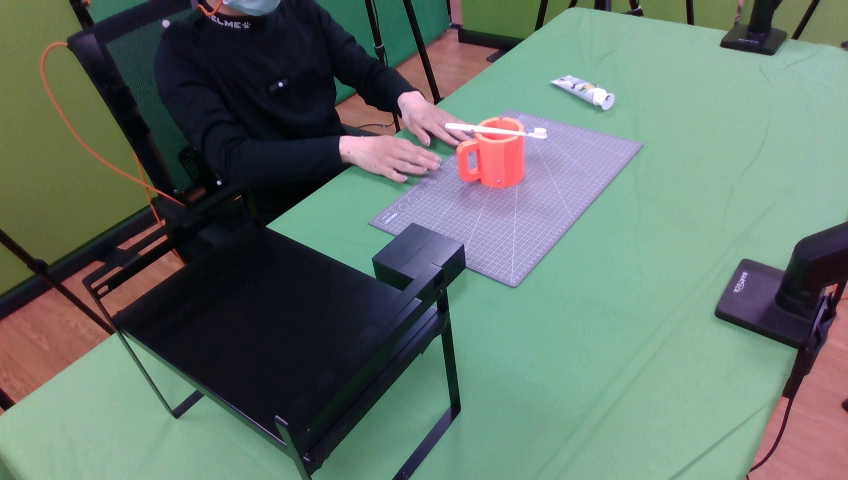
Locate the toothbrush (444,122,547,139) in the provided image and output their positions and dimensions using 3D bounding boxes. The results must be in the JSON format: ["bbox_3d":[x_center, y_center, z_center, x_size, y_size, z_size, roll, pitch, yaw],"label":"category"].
[{"bbox_3d":[0.121,-0.190,1.034,0.181,0.017,0.014,9,46,18],"label":"toothbrush"}]

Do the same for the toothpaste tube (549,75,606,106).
[{"bbox_3d":[0.339,-0.324,1.299,0.055,0.034,0.163,-16,37,-21],"label":"toothpaste tube"}]

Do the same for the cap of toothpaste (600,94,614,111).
[{"bbox_3d":[0.373,-0.283,1.238,0.037,0.037,0.011,-28,46,-23],"label":"cap of toothpaste"}]

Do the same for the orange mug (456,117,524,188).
[{"bbox_3d":[0.117,-0.152,1.071,0.127,0.101,0.083,-14,41,-14],"label":"orange mug"}]
